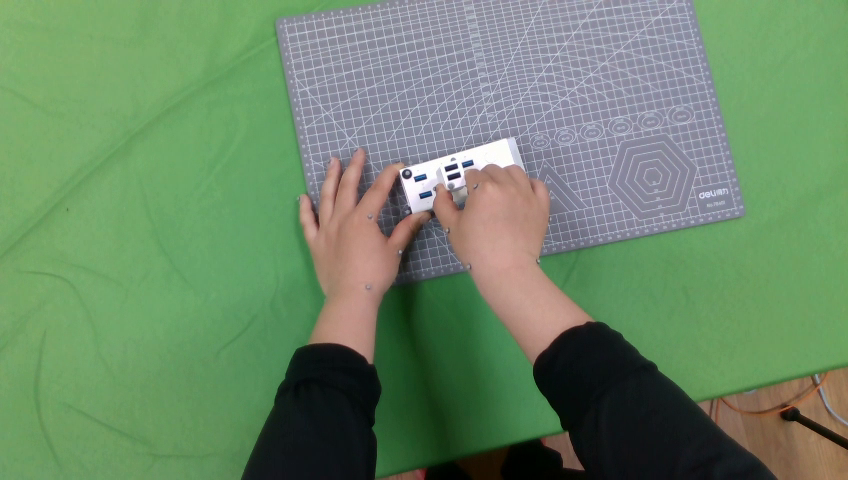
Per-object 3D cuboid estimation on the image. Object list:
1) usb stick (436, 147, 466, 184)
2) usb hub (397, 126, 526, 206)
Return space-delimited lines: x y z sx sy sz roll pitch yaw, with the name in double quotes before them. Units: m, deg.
"usb stick" 0.025 -0.070 0.584 0.021 0.059 0.027 -21 86 -1
"usb hub" 0.038 -0.077 0.621 0.125 0.025 0.049 -17 86 -5
